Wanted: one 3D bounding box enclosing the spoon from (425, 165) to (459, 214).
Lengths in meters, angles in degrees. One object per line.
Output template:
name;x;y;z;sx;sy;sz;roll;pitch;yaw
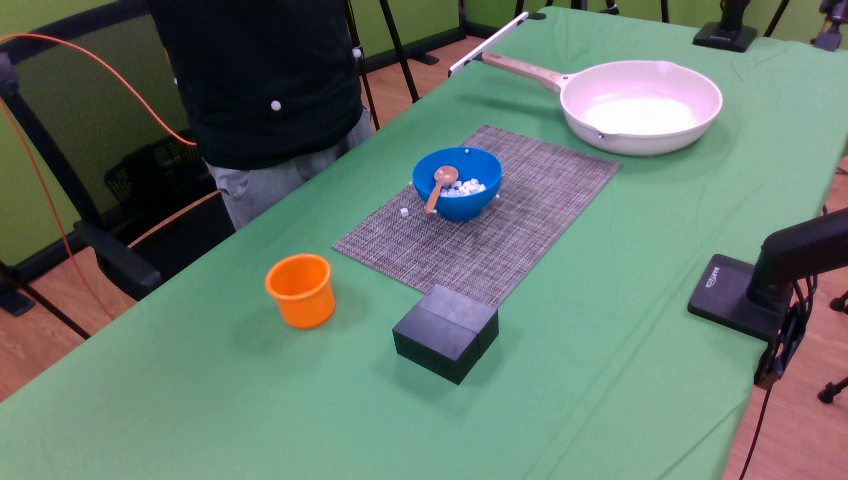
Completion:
spoon;0.023;-0.083;0.963;0.041;0.021;0.193;8;24;9

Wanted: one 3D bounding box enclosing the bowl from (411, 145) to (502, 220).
bowl;0.057;-0.086;1.010;0.151;0.077;0.150;-4;41;4

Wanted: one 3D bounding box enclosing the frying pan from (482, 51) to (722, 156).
frying pan;0.326;-0.298;1.204;0.484;0.103;0.307;28;51;23
